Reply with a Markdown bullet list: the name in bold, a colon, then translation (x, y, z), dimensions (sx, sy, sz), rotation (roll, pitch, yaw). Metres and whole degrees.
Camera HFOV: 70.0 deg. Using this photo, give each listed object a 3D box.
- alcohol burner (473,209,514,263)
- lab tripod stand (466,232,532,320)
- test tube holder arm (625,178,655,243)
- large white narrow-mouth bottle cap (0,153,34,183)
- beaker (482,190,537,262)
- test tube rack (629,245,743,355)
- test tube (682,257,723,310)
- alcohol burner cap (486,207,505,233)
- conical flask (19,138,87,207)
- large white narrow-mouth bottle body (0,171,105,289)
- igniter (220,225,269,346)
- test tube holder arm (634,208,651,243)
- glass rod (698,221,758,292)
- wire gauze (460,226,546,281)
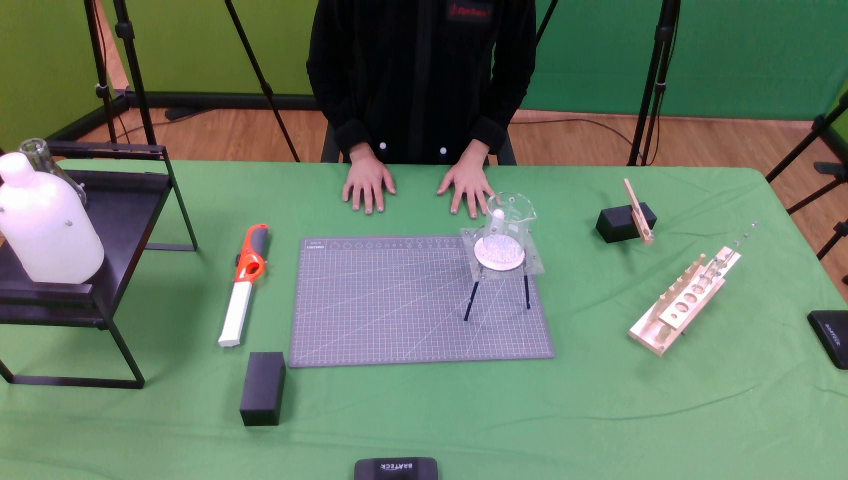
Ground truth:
- **alcohol burner**: translation (0.134, -0.013, 1.150), dimensions (0.078, 0.120, 0.077), rotation (0, 47, 0)
- **lab tripod stand**: translation (0.125, 0.059, 1.065), dimensions (0.148, 0.132, 0.147), rotation (1, 45, 0)
- **test tube holder arm**: translation (0.433, -0.063, 1.220), dimensions (0.013, 0.015, 0.177), rotation (1, 47, -3)
- **large white narrow-mouth bottle cap**: translation (-0.510, -0.089, 0.755), dimensions (0.038, 0.024, 0.037), rotation (2, 46, -2)
- **beaker**: translation (0.136, -0.019, 0.983), dimensions (0.084, 0.101, 0.073), rotation (17, 47, 14)
- **test tube rack**: translation (0.474, 0.095, 1.091), dimensions (0.242, 0.085, 0.066), rotation (-34, 56, -31)
- **test tube**: translation (0.475, 0.080, 1.037), dimensions (0.017, 0.151, 0.017), rotation (1, 50, -1)
- **alcohol burner cap**: translation (0.135, -0.039, 1.125), dimensions (0.034, 0.048, 0.033), rotation (4, 41, -4)
- **conical flask**: translation (-0.576, -0.097, 0.930), dimensions (0.075, 0.122, 0.075), rotation (2, 46, -2)
- **large white narrow-mouth bottle body**: translation (-0.513, -0.029, 0.818), dimensions (0.102, 0.195, 0.101), rotation (2, 46, -2)
- **igniter**: translation (-0.323, 0.072, 1.100), dimensions (0.057, 0.025, 0.274), rotation (-6, 46, 5)
- **test tube holder arm**: translation (0.428, -0.030, 1.189), dimensions (0.010, 0.015, 0.087), rotation (1, 47, -2)
- **glass rod**: translation (0.527, 0.035, 1.060), dimensions (0.008, 0.200, 0.008), rotation (5, 49, -6)
- **wire gauze**: translation (0.130, 0.017, 1.016), dimensions (0.121, 0.011, 0.124), rotation (-4, 43, -9)
